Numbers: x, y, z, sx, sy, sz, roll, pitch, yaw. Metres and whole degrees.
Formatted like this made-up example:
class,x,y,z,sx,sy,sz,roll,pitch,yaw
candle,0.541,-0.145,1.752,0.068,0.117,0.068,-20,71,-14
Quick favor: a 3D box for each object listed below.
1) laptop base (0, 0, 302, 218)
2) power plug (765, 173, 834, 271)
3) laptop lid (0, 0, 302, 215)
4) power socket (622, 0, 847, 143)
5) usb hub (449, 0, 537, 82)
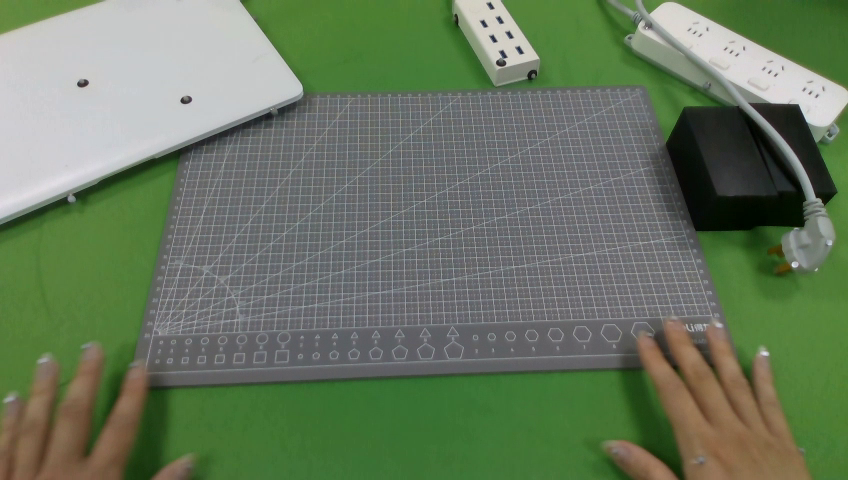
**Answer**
class,x,y,z,sx,sy,sz,roll,pitch,yaw
laptop base,-0.325,-0.146,0.586,0.354,0.023,0.233,-28,65,-17
power plug,0.303,-0.009,0.493,0.035,0.052,0.072,22,59,-20
laptop lid,-0.323,-0.151,0.575,0.357,0.013,0.239,-26,63,-17
power socket,0.312,-0.175,0.612,0.225,0.033,0.072,39,64,22
usb hub,0.070,-0.220,0.640,0.049,0.025,0.124,-17,59,-11
